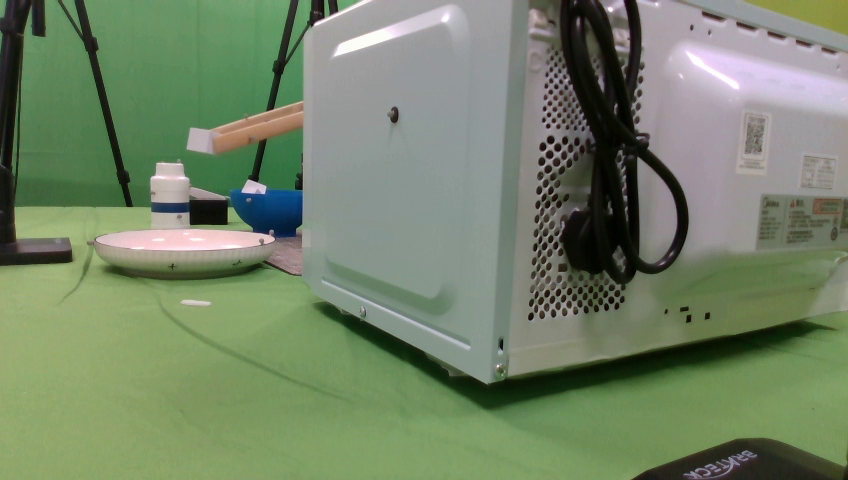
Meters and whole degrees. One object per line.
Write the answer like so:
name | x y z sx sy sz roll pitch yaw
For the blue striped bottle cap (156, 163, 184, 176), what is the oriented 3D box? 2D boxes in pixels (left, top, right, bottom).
blue striped bottle cap | -0.438 -0.122 1.045 0.044 0.020 0.044 5 6 0

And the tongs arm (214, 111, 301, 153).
tongs arm | -0.216 -0.208 1.030 0.028 0.028 0.388 6 24 27

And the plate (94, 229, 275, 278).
plate | -0.291 0.016 0.750 0.208 0.039 0.207 2 7 0

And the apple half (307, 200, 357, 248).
apple half | -0.135 -0.024 0.941 0.053 0.074 0.081 12 8 38

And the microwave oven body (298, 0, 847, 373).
microwave oven body | 0.151 -0.055 0.543 0.444 0.260 0.324 -1 8 -33

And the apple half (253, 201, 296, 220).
apple half | -0.264 -0.053 1.066 0.081 0.033 0.081 1 8 0

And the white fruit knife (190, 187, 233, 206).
white fruit knife | -0.413 -0.081 1.270 0.208 0.027 0.016 17 14 -41

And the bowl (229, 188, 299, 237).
bowl | -0.264 -0.048 1.066 0.151 0.077 0.151 2 8 0

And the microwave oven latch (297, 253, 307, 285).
microwave oven latch | -0.082 0.027 0.582 0.079 0.029 0.030 -1 8 -32

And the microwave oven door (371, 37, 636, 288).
microwave oven door | 0.109 -0.080 0.686 0.358 0.243 0.039 -2 9 -33

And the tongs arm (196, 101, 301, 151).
tongs arm | -0.237 -0.212 1.040 0.050 0.026 0.385 7 25 21

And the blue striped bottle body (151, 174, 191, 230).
blue striped bottle body | -0.439 -0.071 1.052 0.063 0.120 0.063 2 8 0
